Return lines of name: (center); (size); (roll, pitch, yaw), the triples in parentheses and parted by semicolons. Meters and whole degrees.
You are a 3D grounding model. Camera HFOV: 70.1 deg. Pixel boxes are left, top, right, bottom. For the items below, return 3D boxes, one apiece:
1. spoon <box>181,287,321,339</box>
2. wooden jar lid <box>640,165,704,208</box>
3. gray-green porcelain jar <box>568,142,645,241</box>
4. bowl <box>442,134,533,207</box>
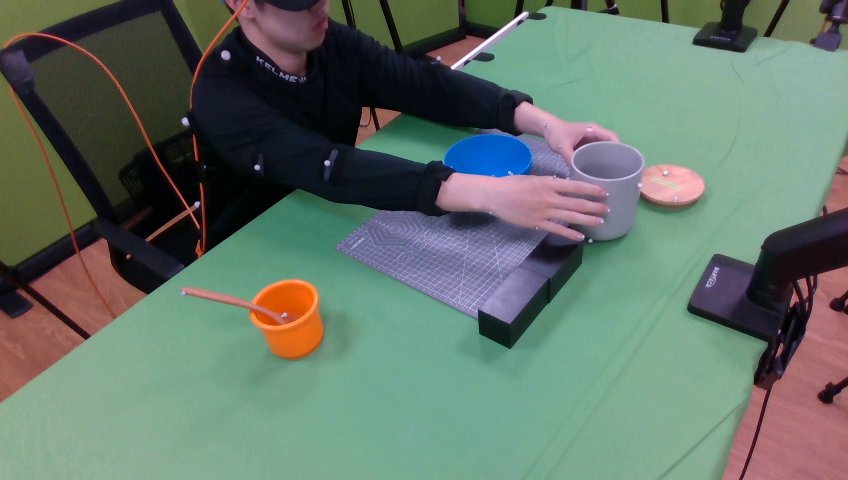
spoon: (-0.223, 0.093, 0.796); (0.021, 0.195, 0.041); (-46, 36, 23)
wooden jar lid: (0.410, -0.089, 1.014); (0.108, 0.021, 0.108); (-5, 42, 5)
gray-green porcelain jar: (0.277, -0.070, 0.931); (0.106, 0.127, 0.105); (-4, 41, 4)
bowl: (0.110, -0.109, 1.033); (0.151, 0.077, 0.150); (-4, 40, 4)
